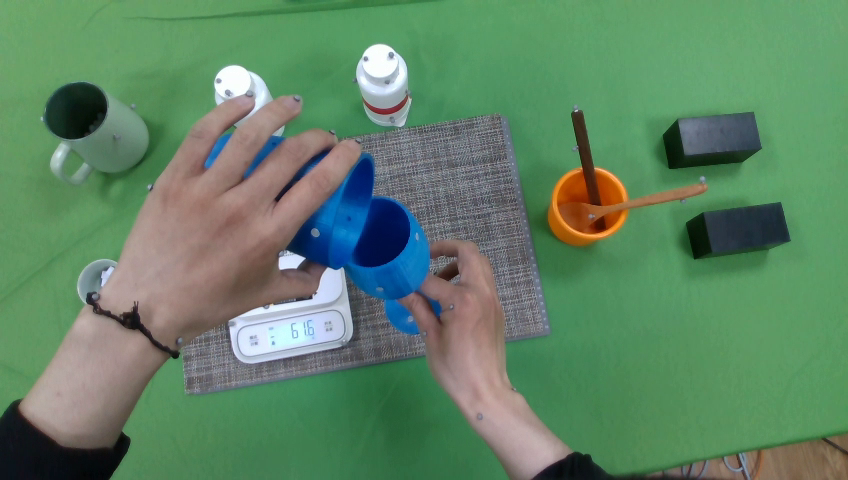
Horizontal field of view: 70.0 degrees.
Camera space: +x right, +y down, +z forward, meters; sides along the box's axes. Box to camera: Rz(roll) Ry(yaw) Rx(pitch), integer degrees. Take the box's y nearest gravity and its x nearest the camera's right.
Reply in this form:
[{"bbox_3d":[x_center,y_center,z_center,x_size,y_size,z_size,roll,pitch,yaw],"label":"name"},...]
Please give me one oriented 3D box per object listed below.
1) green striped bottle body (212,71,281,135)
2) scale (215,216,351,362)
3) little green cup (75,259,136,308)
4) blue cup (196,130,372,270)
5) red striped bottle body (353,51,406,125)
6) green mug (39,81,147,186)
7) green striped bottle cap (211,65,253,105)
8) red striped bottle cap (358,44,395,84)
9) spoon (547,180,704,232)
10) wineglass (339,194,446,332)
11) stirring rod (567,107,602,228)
[{"bbox_3d":[-0.224,-0.168,0.762,0.063,0.119,0.063,0,78,0],"label":"green striped bottle body"},{"bbox_3d":[-0.178,0.043,0.759,0.149,0.031,0.200,-10,79,-2],"label":"scale"},{"bbox_3d":[-0.394,0.057,0.755,0.061,0.039,0.061,0,78,-1],"label":"little green cup"},{"bbox_3d":[-0.099,-0.035,0.425,0.100,0.093,0.092,18,79,7],"label":"blue cup"},{"bbox_3d":[-0.055,-0.197,0.769,0.063,0.120,0.063,0,78,0],"label":"red striped bottle body"},{"bbox_3d":[-0.421,-0.126,0.760,0.092,0.105,0.125,25,79,5],"label":"green mug"},{"bbox_3d":[-0.224,-0.181,0.707,0.044,0.020,0.044,0,78,2],"label":"green striped bottle cap"},{"bbox_3d":[-0.056,-0.209,0.716,0.044,0.018,0.044,0,75,1],"label":"red striped bottle cap"},{"bbox_3d":[0.233,-0.043,0.722,0.022,0.193,0.041,-5,84,-45],"label":"spoon"},{"bbox_3d":[-0.025,0.027,0.529,0.073,0.174,0.073,-4,66,9],"label":"wineglass"},{"bbox_3d":[0.195,-0.082,0.728,0.014,0.178,0.006,1,43,30],"label":"stirring rod"}]
